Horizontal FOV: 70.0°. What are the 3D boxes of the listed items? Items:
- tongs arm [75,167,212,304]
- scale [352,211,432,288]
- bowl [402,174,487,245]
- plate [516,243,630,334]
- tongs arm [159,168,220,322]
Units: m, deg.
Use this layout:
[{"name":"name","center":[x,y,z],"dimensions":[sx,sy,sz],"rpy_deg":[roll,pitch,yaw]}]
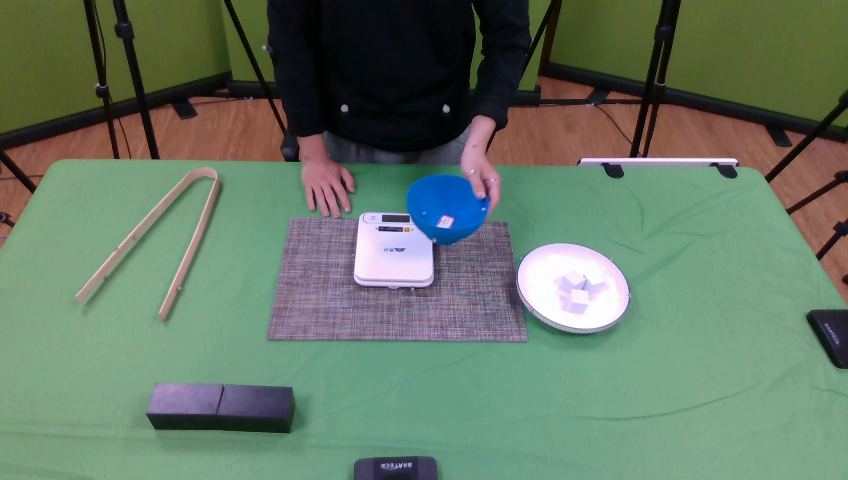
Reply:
[{"name":"tongs arm","center":[-0.526,-0.021,1.167],"dimensions":[0.051,0.026,0.383],"rpy_deg":[13,46,7]},{"name":"scale","center":[-0.060,0.010,1.171],"dimensions":[0.149,0.032,0.199],"rpy_deg":[2,46,-3]},{"name":"bowl","center":[0.034,-0.044,1.101],"dimensions":[0.151,0.077,0.150],"rpy_deg":[4,45,-3]},{"name":"plate","center":[0.272,0.092,1.120],"dimensions":[0.208,0.039,0.206],"rpy_deg":[2,46,-2]},{"name":"tongs arm","center":[-0.446,-0.005,1.165],"dimensions":[0.028,0.028,0.385],"rpy_deg":[2,46,0]}]
